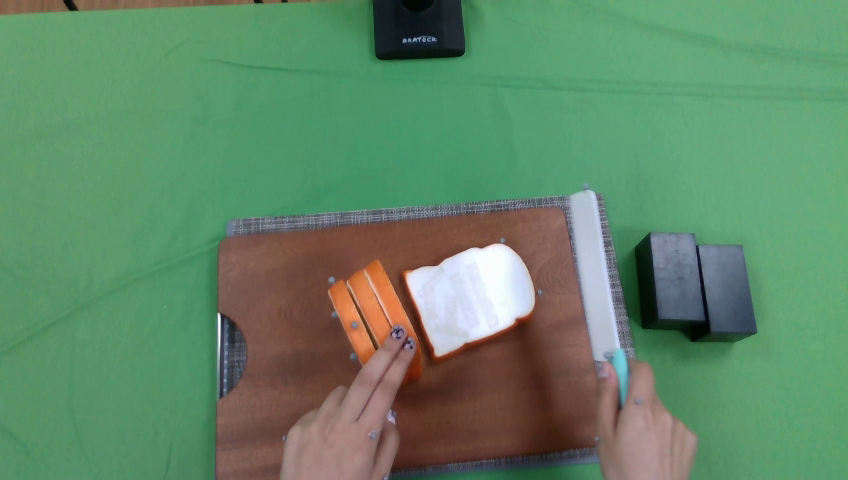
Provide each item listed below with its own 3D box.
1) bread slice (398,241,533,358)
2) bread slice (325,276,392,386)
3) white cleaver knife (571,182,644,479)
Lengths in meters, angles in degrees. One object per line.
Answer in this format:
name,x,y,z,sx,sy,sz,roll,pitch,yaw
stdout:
bread slice,0.050,0.059,0.660,0.134,0.018,0.106,-17,75,-3
bread slice,-0.065,0.088,0.592,0.019,0.132,0.104,-27,72,-7
white cleaver knife,0.169,0.087,0.567,0.021,0.066,0.285,-5,83,-5
